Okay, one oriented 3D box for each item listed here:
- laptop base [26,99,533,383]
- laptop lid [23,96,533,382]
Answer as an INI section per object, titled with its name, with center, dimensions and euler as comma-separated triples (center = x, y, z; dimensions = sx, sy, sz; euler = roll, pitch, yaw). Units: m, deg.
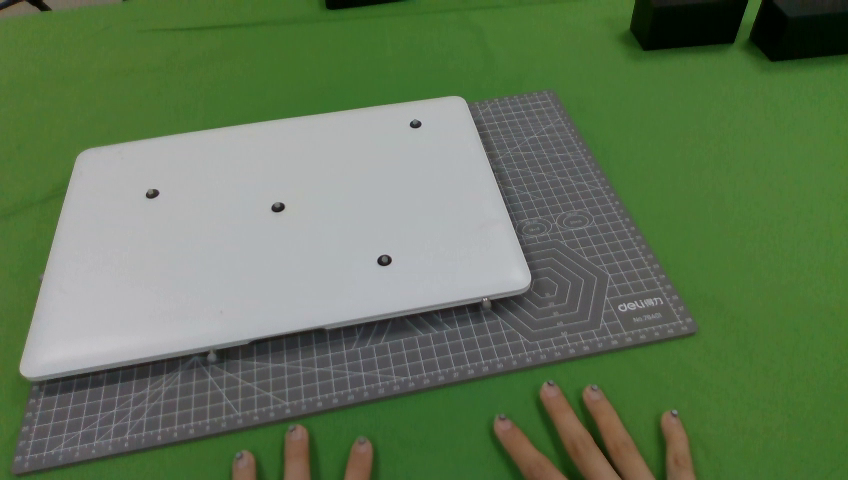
[laptop base]
center = -0.113, -0.015, 0.493
dimensions = 0.355, 0.023, 0.233
euler = -10, 52, -5
[laptop lid]
center = -0.113, -0.022, 0.483
dimensions = 0.357, 0.013, 0.239
euler = -8, 50, -4
